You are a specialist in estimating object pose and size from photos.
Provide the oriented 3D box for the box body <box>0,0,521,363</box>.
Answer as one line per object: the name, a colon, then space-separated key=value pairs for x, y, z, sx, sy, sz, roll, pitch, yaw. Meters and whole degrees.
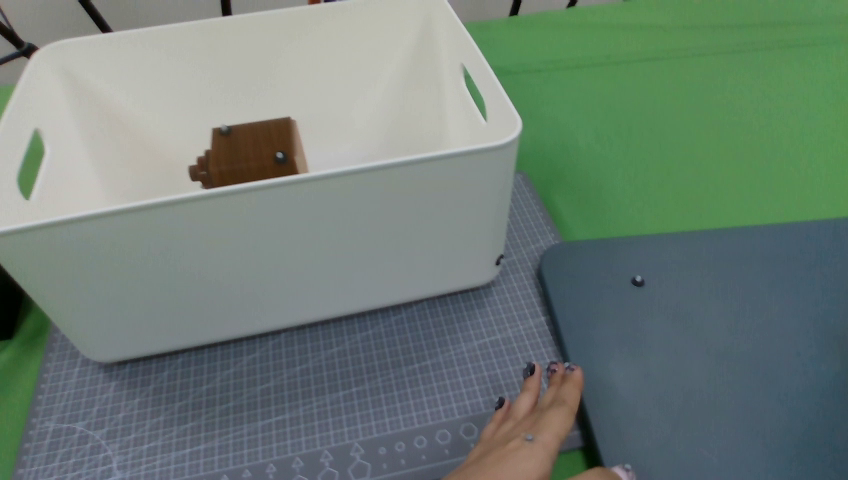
box body: x=-0.127 y=-0.062 z=0.521 sx=0.365 sy=0.162 sz=0.251 roll=-11 pitch=45 yaw=-8

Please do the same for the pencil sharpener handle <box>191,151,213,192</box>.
pencil sharpener handle: x=-0.190 y=-0.043 z=0.518 sx=0.031 sy=0.068 sz=0.035 roll=-10 pitch=48 yaw=-6

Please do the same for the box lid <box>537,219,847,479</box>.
box lid: x=0.288 y=0.084 z=0.465 sx=0.372 sy=0.015 sz=0.260 roll=-5 pitch=44 yaw=-3

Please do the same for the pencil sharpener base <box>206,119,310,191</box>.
pencil sharpener base: x=-0.139 y=-0.043 z=0.532 sx=0.077 sy=0.108 sz=0.060 roll=-10 pitch=46 yaw=-6
